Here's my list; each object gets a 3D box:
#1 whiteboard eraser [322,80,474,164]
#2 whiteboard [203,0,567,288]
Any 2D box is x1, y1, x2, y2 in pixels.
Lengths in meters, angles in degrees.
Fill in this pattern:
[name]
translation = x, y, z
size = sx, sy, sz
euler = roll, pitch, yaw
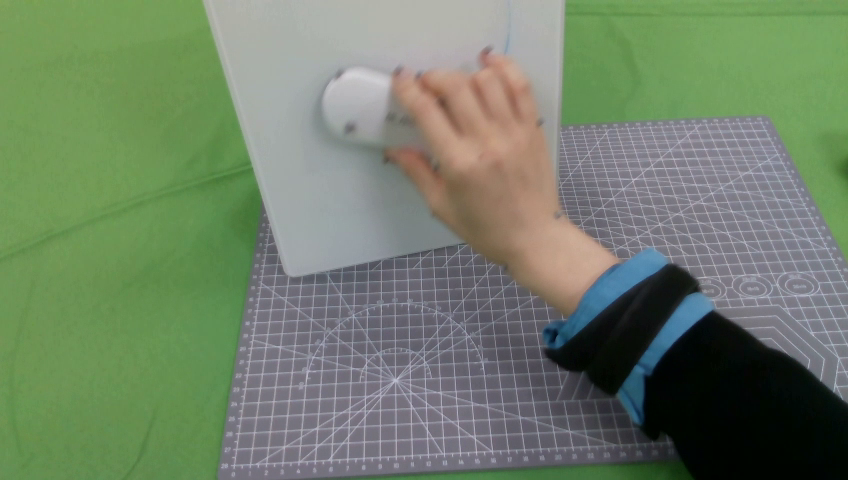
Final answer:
[whiteboard eraser]
translation = -0.016, -0.076, 0.394
size = 0.102, 0.041, 0.018
euler = 9, 31, -18
[whiteboard]
translation = -0.025, -0.148, 0.436
size = 0.217, 0.308, 0.142
euler = -11, 34, -6
